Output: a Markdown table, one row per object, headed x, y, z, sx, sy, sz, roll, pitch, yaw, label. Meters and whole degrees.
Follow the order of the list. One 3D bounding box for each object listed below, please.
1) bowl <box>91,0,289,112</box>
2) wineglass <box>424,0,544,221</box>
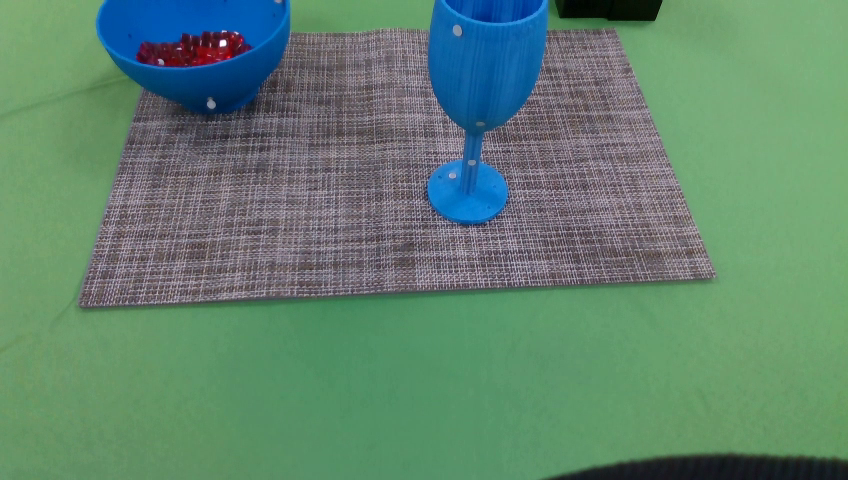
| x | y | z | sx | sy | sz | roll | pitch | yaw | label |
| --- | --- | --- | --- | --- | --- | --- | --- | --- | --- |
| -0.185 | -0.163 | 0.510 | 0.151 | 0.077 | 0.150 | 1 | 55 | -2 | bowl |
| 0.035 | -0.091 | 0.411 | 0.074 | 0.173 | 0.073 | 1 | 54 | -1 | wineglass |
